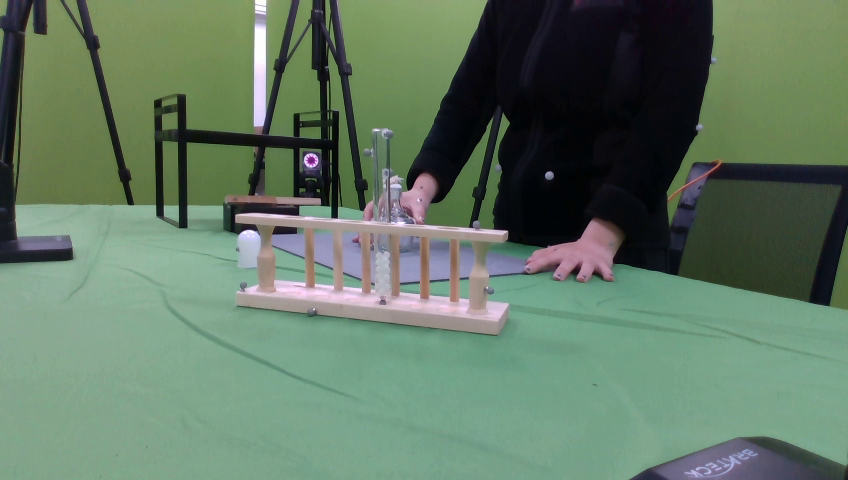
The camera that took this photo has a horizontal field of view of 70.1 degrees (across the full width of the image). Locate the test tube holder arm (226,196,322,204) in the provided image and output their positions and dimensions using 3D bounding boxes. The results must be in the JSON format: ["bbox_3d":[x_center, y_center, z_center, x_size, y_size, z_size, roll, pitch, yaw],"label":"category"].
[{"bbox_3d":[-0.274,-0.074,1.118,0.179,0.015,0.013,-2,-7,-34],"label":"test tube holder arm"}]

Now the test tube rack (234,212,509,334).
[{"bbox_3d":[-0.046,0.023,0.547,0.242,0.085,0.067,4,8,15],"label":"test tube rack"}]

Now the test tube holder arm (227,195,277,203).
[{"bbox_3d":[-0.308,-0.074,1.088,0.088,0.015,0.010,-2,-7,-34],"label":"test tube holder arm"}]

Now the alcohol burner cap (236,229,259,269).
[{"bbox_3d":[-0.220,0.010,0.759,0.034,0.048,0.034,0,12,0],"label":"alcohol burner cap"}]

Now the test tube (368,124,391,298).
[{"bbox_3d":[-0.038,-0.023,0.519,0.017,0.150,0.017,-1,12,0],"label":"test tube"}]

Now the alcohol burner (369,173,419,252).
[{"bbox_3d":[-0.047,-0.042,0.922,0.078,0.119,0.078,1,10,0],"label":"alcohol burner"}]
